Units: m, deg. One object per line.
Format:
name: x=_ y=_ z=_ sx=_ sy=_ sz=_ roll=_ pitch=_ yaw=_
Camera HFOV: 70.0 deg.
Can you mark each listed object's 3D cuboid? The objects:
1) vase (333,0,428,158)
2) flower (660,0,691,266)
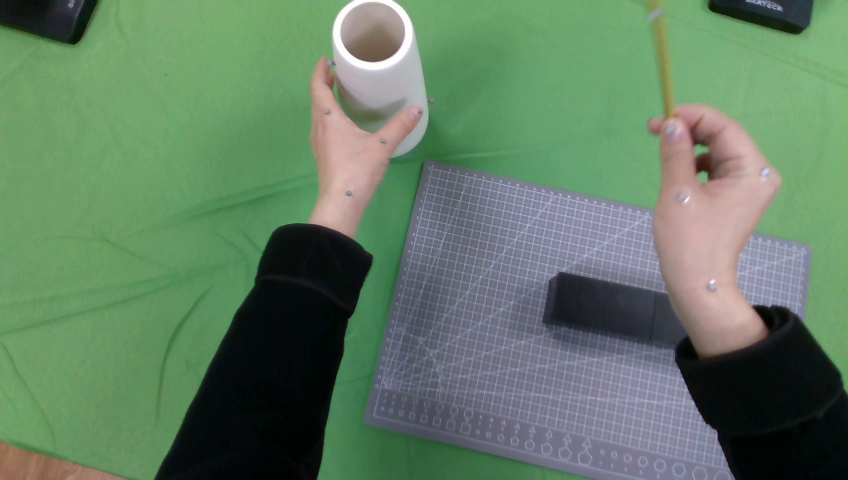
vase: x=-0.043 y=-0.156 z=0.608 sx=0.098 sy=0.200 sz=0.097 roll=0 pitch=77 yaw=-2
flower: x=0.161 y=-0.075 z=0.388 sx=0.038 sy=0.366 sz=0.043 roll=-18 pitch=52 yaw=14
